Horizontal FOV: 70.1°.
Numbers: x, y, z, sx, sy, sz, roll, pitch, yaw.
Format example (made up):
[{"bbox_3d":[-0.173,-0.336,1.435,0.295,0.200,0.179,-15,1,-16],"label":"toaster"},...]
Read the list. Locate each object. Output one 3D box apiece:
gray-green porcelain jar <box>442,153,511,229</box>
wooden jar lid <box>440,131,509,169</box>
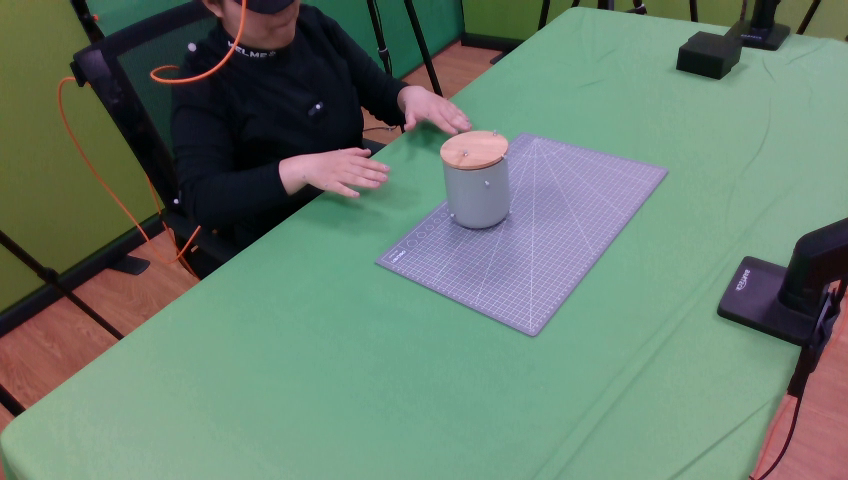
[{"bbox_3d":[0.088,-0.091,0.988,0.106,0.127,0.105,-5,40,5],"label":"gray-green porcelain jar"},{"bbox_3d":[0.079,-0.137,0.948,0.108,0.021,0.108,-5,38,5],"label":"wooden jar lid"}]
